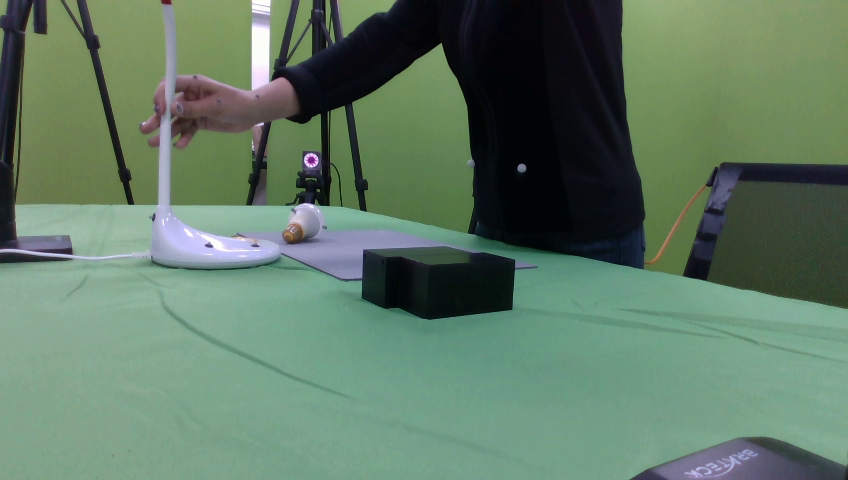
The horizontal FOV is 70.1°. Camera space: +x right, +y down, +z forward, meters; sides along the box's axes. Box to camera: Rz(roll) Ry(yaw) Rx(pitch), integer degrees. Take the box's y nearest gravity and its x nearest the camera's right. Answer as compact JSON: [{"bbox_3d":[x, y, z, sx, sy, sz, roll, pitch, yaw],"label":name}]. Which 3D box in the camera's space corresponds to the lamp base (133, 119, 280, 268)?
[{"bbox_3d":[-0.277,-0.061,0.770,0.180,0.180,0.160,-8,12,-43],"label":"lamp base"}]

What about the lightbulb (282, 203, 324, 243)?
[{"bbox_3d":[-0.203,-0.023,0.993,0.059,0.059,0.108,3,23,12],"label":"lightbulb"}]
